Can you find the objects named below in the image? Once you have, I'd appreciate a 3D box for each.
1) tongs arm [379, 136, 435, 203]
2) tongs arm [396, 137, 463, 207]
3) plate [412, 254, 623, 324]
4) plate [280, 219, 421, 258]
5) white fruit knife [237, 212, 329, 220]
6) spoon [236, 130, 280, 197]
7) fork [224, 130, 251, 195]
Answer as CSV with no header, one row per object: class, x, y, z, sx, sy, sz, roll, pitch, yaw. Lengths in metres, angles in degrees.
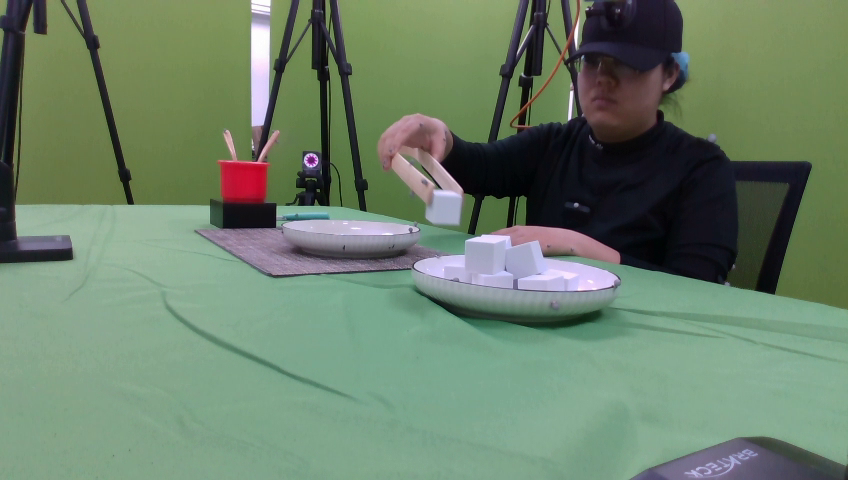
tongs arm,-0.021,-0.108,0.848,0.051,0.026,0.383,5,16,-17
tongs arm,0.003,-0.104,0.854,0.028,0.028,0.386,3,17,-12
plate,0.090,0.047,0.609,0.209,0.038,0.209,2,7,0
plate,-0.108,-0.002,0.902,0.208,0.039,0.207,3,7,0
white fruit knife,-0.304,-0.050,1.328,0.208,0.016,0.027,-3,-19,-29
spoon,-0.321,-0.154,1.192,0.041,0.193,0.022,0,-37,19
fork,-0.372,-0.155,1.193,0.028,0.018,0.206,-17,54,-13
